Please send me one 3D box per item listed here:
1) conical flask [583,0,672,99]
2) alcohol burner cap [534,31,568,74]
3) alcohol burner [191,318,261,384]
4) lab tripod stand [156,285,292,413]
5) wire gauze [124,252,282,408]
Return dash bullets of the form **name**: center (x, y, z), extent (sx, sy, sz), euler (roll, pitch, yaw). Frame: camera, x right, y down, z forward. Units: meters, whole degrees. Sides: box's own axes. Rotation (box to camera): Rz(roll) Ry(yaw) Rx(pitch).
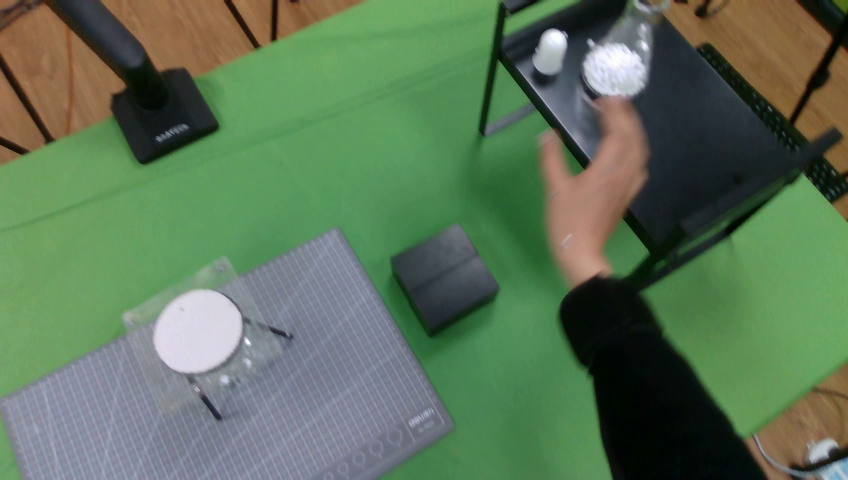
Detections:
- **conical flask**: center (0.220, -0.211, 0.639), extent (0.075, 0.122, 0.075), euler (1, 68, -1)
- **alcohol burner cap**: center (0.145, -0.214, 0.680), extent (0.034, 0.048, 0.033), euler (1, 67, -2)
- **alcohol burner**: center (-0.228, 0.122, 0.684), extent (0.078, 0.120, 0.077), euler (0, 69, 0)
- **lab tripod stand**: center (-0.234, 0.112, 0.678), extent (0.148, 0.132, 0.147), euler (0, 69, 0)
- **wire gauze**: center (-0.227, 0.089, 0.614), extent (0.125, 0.011, 0.120), euler (-29, 71, -12)
